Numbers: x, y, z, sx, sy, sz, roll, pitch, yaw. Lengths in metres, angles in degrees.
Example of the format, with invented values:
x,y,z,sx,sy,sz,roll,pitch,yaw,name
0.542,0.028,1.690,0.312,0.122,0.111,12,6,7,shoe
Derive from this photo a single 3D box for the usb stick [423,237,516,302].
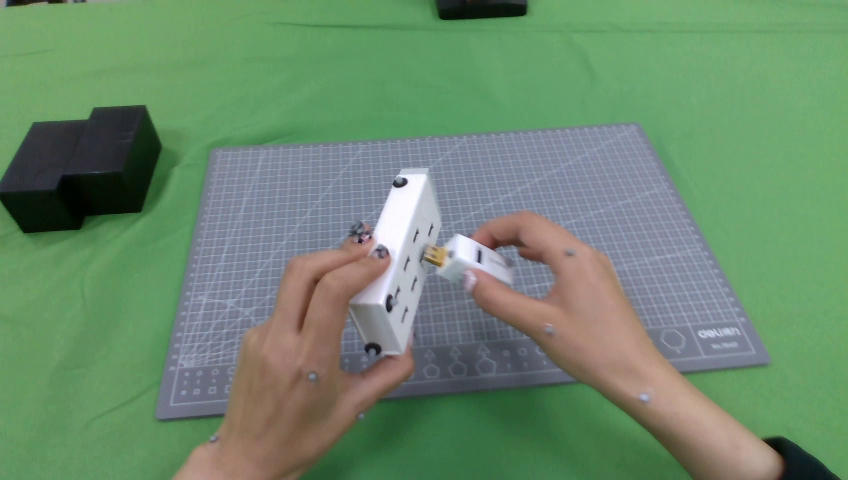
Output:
x,y,z,sx,sy,sz,roll,pitch,yaw,name
0.028,0.017,0.391,0.059,0.027,0.021,23,48,-16,usb stick

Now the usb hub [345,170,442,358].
x,y,z,sx,sy,sz,roll,pitch,yaw,name
-0.015,0.011,0.389,0.025,0.050,0.124,-1,44,18,usb hub
